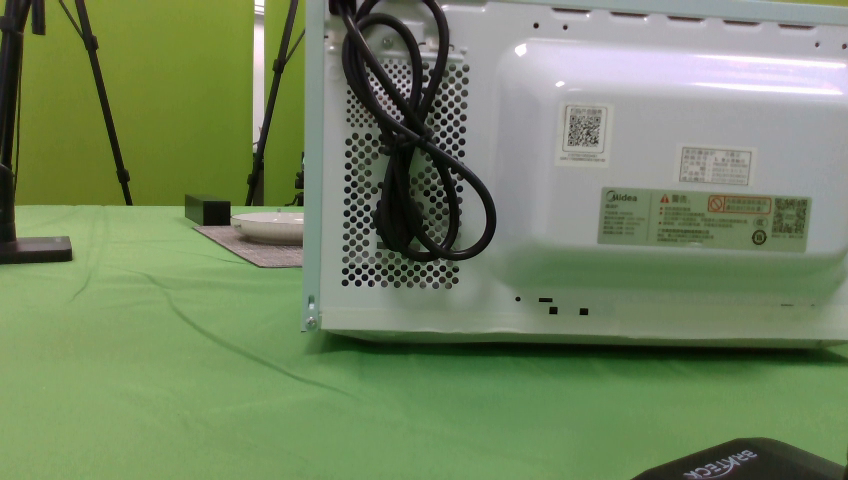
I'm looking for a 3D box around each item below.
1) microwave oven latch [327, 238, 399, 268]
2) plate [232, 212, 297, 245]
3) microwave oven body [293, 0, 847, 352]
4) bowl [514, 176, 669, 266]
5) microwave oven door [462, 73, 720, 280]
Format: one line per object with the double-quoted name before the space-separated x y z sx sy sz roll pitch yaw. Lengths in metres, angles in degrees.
"microwave oven latch" -0.069 0.015 0.694 0.079 0.029 0.030 3 7 -3
"plate" -0.214 -0.019 1.018 0.208 0.039 0.207 3 7 0
"microwave oven body" 0.122 -0.055 0.550 0.442 0.260 0.325 3 7 -5
"bowl" 0.165 -0.020 0.614 0.151 0.077 0.151 1 11 0
"microwave oven door" 0.203 -0.092 0.825 0.354 0.243 0.039 9 10 43
